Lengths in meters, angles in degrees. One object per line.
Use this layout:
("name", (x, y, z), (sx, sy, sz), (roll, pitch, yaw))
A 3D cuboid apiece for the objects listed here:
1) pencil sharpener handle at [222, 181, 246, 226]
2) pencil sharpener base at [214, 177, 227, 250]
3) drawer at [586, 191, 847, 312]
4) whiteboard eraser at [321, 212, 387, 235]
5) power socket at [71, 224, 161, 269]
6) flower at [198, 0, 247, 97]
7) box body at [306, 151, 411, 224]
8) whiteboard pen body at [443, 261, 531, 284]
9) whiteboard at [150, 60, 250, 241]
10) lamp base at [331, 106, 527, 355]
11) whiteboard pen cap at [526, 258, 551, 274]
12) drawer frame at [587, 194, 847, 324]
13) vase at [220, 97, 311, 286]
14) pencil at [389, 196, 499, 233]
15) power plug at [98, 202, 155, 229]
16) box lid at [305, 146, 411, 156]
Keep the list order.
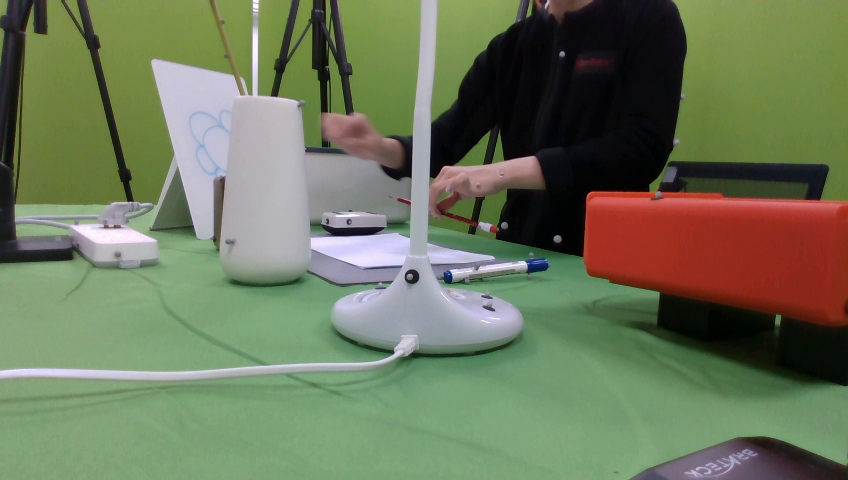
("pencil sharpener handle", (-0.289, -0.055, 0.912), (0.036, 0.067, 0.030), (-3, 9, -29))
("pencil sharpener base", (-0.265, -0.036, 0.870), (0.061, 0.107, 0.076), (-2, 8, -29))
("drawer", (0.281, 0.001, 0.512), (0.195, 0.073, 0.210), (-1, 8, -29))
("whiteboard eraser", (-0.128, -0.031, 1.108), (0.113, 0.042, 0.055), (-3, 8, -38))
("power socket", (-0.408, 0.004, 0.793), (0.072, 0.032, 0.225), (-2, 8, -38))
("flower", (-0.187, -0.133, 0.648), (0.038, 0.362, 0.044), (-1, 22, 43))
("box body", (-0.230, -0.126, 1.371), (0.366, 0.160, 0.253), (-2, 8, -33))
("whiteboard pen body", (0.087, 0.038, 0.734), (0.141, 0.017, 0.017), (-5, 10, -27))
("whiteboard", (-0.408, -0.139, 1.093), (0.143, 0.305, 0.218), (-15, -1, 26))
("lamp base", (0.006, -0.012, 0.478), (0.161, 0.180, 0.179), (2, 10, 2))
("whiteboard pen cap", (0.141, 0.033, 0.759), (0.033, 0.018, 0.018), (-7, 11, -26))
("drawer frame", (0.286, 0.004, 0.508), (0.203, 0.082, 0.212), (-1, 6, -30))
("vase", (-0.172, -0.052, 0.662), (0.098, 0.200, 0.098), (3, 8, 0))
("pencil", (0.026, -0.041, 0.915), (0.193, 0.012, 0.012), (19, 14, 27))
("power plug", (-0.416, -0.027, 0.848), (0.073, 0.052, 0.035), (0, 8, -28))
("box lid", (-0.229, -0.200, 1.360), (0.373, 0.015, 0.262), (-3, 9, -33))
